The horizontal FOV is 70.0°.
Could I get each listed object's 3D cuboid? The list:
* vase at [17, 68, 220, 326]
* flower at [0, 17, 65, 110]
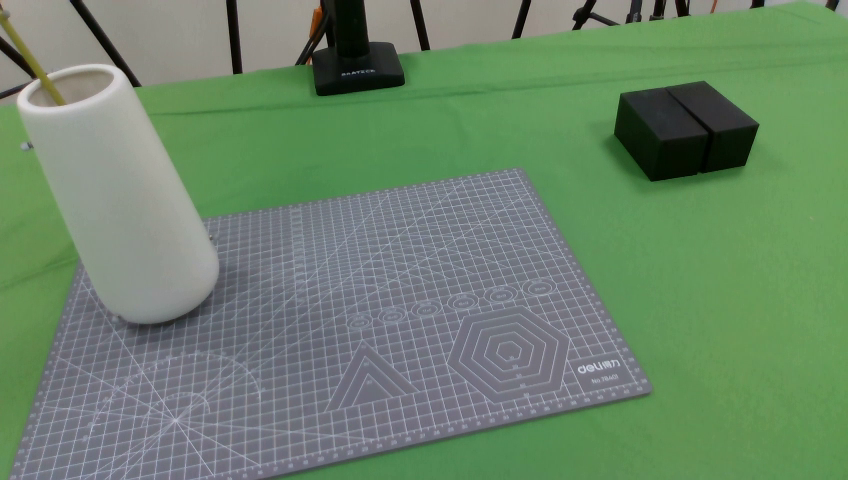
[{"bbox_3d":[-0.229,-0.026,0.471,0.098,0.202,0.097,-2,40,2],"label":"vase"},{"bbox_3d":[-0.251,-0.091,0.421,0.044,0.365,0.038,-37,35,-24],"label":"flower"}]
